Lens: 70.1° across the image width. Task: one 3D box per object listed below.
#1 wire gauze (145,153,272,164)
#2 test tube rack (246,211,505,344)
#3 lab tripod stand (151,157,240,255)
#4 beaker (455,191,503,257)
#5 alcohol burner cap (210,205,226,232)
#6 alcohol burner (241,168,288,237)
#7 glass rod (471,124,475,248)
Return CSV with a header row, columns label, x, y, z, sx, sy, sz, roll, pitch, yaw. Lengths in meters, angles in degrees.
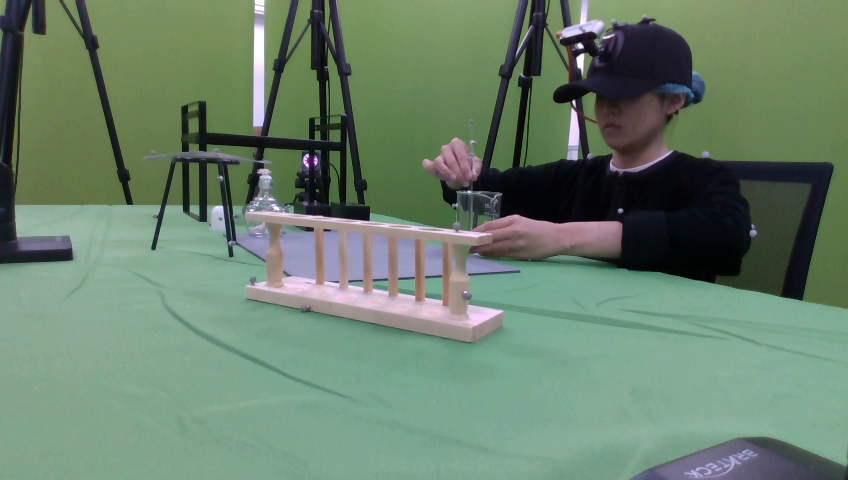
label,x,y,z,sx,sy,sz,roll,pitch,yaw
wire gauze,-0.303,-0.117,0.854,0.121,0.011,0.126,7,7,34
test tube rack,-0.049,0.025,0.547,0.241,0.085,0.067,7,8,29
lab tripod stand,-0.310,-0.052,0.866,0.148,0.131,0.148,2,6,0
beaker,0.087,-0.025,0.954,0.074,0.100,0.083,-1,8,-25
alcohol burner cap,-0.376,-0.040,1.107,0.034,0.048,0.034,2,7,0
alcohol burner,-0.272,-0.064,1.036,0.078,0.119,0.078,4,5,0
glass rod,0.079,-0.084,0.964,0.008,0.199,0.008,-1,11,0
